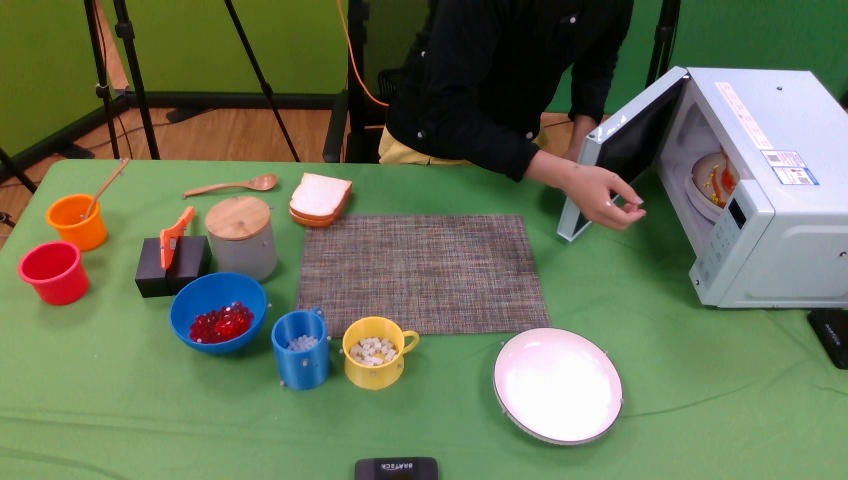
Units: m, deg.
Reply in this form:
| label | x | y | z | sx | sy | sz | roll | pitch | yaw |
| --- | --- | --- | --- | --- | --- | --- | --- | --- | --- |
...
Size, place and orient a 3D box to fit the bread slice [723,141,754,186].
| label | x | y | z | sx | sy | sz | roll | pitch | yaw |
| --- | --- | --- | --- | --- | --- | --- | --- | --- | --- |
| bread slice | 0.660 | -0.145 | 1.200 | 0.107 | 0.018 | 0.133 | 1 | 52 | 9 |

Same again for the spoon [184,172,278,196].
| label | x | y | z | sx | sy | sz | roll | pitch | yaw |
| --- | --- | --- | --- | --- | --- | --- | --- | --- | --- |
| spoon | -0.405 | -0.116 | 1.275 | 0.194 | 0.022 | 0.041 | -8 | 65 | -12 |

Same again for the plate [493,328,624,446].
| label | x | y | z | sx | sy | sz | roll | pitch | yaw |
| --- | --- | --- | --- | --- | --- | --- | --- | --- | --- |
| plate | 0.213 | 0.236 | 0.974 | 0.208 | 0.039 | 0.206 | 2 | 46 | -2 |

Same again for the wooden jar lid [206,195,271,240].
| label | x | y | z | sx | sy | sz | roll | pitch | yaw |
| --- | --- | --- | --- | --- | --- | --- | --- | --- | --- |
| wooden jar lid | -0.319 | -0.036 | 1.046 | 0.108 | 0.021 | 0.107 | 1 | 44 | 0 |

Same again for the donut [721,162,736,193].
| label | x | y | z | sx | sy | sz | roll | pitch | yaw |
| --- | --- | --- | --- | --- | --- | --- | --- | --- | --- |
| donut | 0.648 | -0.125 | 1.214 | 0.099 | 0.048 | 0.098 | -4 | 55 | 6 |

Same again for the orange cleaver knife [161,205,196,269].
| label | x | y | z | sx | sy | sz | roll | pitch | yaw |
| --- | --- | --- | --- | --- | --- | --- | --- | --- | --- |
| orange cleaver knife | -0.454 | -0.010 | 1.129 | 0.012 | 0.077 | 0.210 | -2 | 20 | -5 |

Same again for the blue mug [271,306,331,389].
| label | x | y | z | sx | sy | sz | roll | pitch | yaw |
| --- | --- | --- | --- | --- | --- | --- | --- | --- | --- |
| blue mug | -0.188 | 0.163 | 0.969 | 0.082 | 0.106 | 0.116 | 15 | 47 | 10 |

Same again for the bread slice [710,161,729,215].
| label | x | y | z | sx | sy | sz | roll | pitch | yaw |
| --- | --- | --- | --- | --- | --- | --- | --- | --- | --- |
| bread slice | 0.653 | -0.106 | 1.259 | 0.105 | 0.019 | 0.131 | 10 | 68 | 7 |

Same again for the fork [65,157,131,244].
| label | x | y | z | sx | sy | sz | roll | pitch | yaw |
| --- | --- | --- | --- | --- | --- | --- | --- | --- | --- |
| fork | -0.608 | -0.074 | 1.133 | 0.207 | 0.019 | 0.028 | -52 | 51 | 10 |

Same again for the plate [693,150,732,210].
| label | x | y | z | sx | sy | sz | roll | pitch | yaw |
| --- | --- | --- | --- | --- | --- | --- | --- | --- | --- |
| plate | 0.656 | -0.110 | 1.239 | 0.209 | 0.038 | 0.208 | 0 | 44 | 0 |

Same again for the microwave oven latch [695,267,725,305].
| label | x | y | z | sx | sy | sz | roll | pitch | yaw |
| --- | --- | --- | --- | --- | --- | --- | --- | --- | --- |
| microwave oven latch | 0.524 | 0.082 | 1.115 | 0.030 | 0.029 | 0.078 | 5 | 46 | 2 |

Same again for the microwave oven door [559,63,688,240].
| label | x | y | z | sx | sy | sz | roll | pitch | yaw |
| --- | --- | --- | --- | --- | --- | --- | --- | --- | --- |
| microwave oven door | 0.405 | -0.182 | 1.218 | 0.039 | 0.245 | 0.355 | 34 | 54 | 25 |

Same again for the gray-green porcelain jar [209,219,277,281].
| label | x | y | z | sx | sy | sz | roll | pitch | yaw |
| --- | --- | --- | --- | --- | --- | --- | --- | --- | --- |
| gray-green porcelain jar | -0.323 | 0.007 | 1.092 | 0.106 | 0.127 | 0.105 | 2 | 46 | -2 |

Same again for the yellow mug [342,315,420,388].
| label | x | y | z | sx | sy | sz | roll | pitch | yaw |
| --- | --- | --- | --- | --- | --- | --- | --- | --- | --- |
| yellow mug | -0.067 | 0.177 | 0.990 | 0.131 | 0.064 | 0.099 | -16 | 50 | -19 |

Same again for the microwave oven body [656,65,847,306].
| label | x | y | z | sx | sy | sz | roll | pitch | yaw |
| --- | --- | --- | --- | --- | --- | --- | --- | --- | --- |
| microwave oven body | 0.669 | -0.111 | 1.176 | 0.326 | 0.261 | 0.439 | 0 | 46 | -3 |

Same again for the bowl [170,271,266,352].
| label | x | y | z | sx | sy | sz | roll | pitch | yaw |
| --- | --- | --- | --- | --- | --- | --- | --- | --- | --- |
| bowl | -0.333 | 0.132 | 1.006 | 0.151 | 0.077 | 0.150 | 2 | 46 | -2 |
